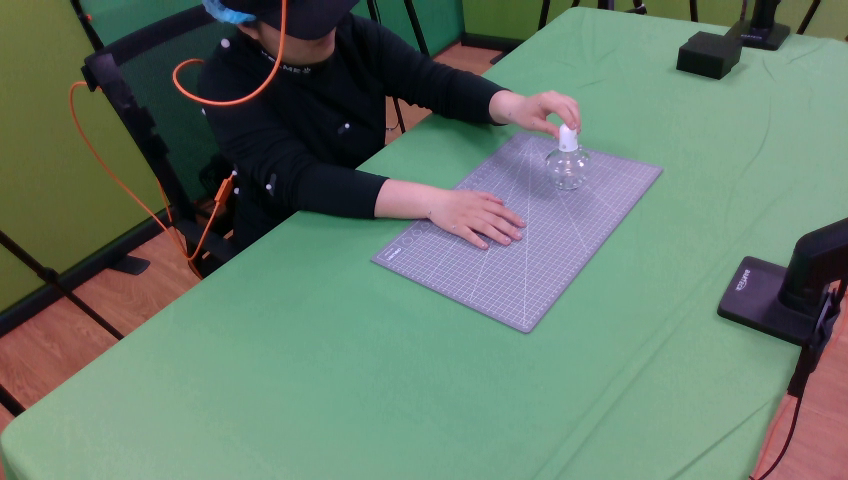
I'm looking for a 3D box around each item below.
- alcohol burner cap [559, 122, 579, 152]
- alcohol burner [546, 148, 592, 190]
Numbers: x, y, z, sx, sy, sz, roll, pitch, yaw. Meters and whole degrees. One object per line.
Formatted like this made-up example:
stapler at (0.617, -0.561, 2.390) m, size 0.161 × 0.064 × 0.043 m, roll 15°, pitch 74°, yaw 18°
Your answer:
alcohol burner cap at (0.241, -0.173, 1.010) m, size 0.034 × 0.048 × 0.033 m, roll -9°, pitch 36°, yaw 7°
alcohol burner at (0.247, -0.146, 1.035) m, size 0.078 × 0.120 × 0.077 m, roll -7°, pitch 41°, yaw 6°
